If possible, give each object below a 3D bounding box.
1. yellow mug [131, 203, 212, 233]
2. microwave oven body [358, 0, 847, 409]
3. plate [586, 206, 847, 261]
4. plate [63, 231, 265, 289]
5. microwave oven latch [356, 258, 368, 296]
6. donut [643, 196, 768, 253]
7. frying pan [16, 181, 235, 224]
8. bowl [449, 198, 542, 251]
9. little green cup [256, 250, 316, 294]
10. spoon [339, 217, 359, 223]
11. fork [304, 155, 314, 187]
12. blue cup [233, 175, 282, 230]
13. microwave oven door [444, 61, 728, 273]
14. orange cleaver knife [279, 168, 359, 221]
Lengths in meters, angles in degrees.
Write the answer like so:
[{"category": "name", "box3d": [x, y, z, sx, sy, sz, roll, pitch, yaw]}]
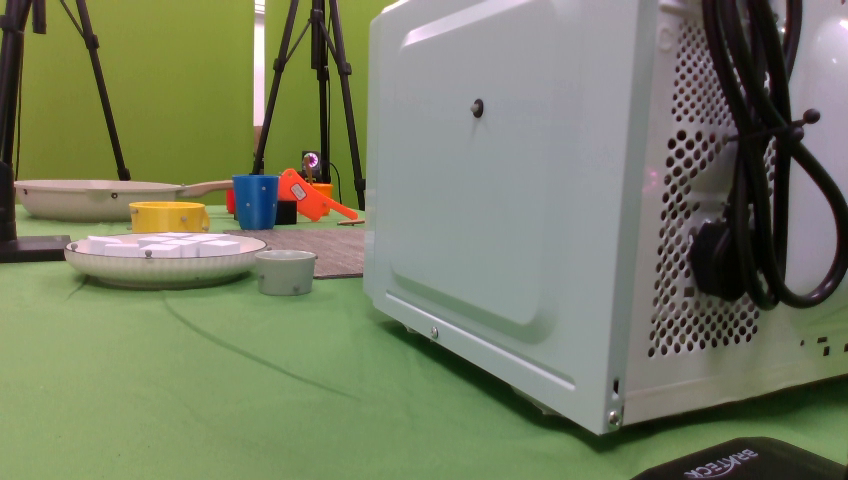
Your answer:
[{"category": "yellow mug", "box3d": [-0.356, -0.020, 0.878, 0.099, 0.064, 0.131, 4, 7, 22]}, {"category": "microwave oven body", "box3d": [0.210, -0.051, 0.472, 0.444, 0.260, 0.324, -1, 7, -28]}, {"category": "plate", "box3d": [0.243, -0.007, 0.509, 0.209, 0.038, 0.209, 2, 3, 0]}, {"category": "plate", "box3d": [-0.288, 0.021, 0.687, 0.208, 0.039, 0.207, 2, 8, 0]}, {"category": "microwave oven latch", "box3d": [-0.019, 0.031, 0.528, 0.079, 0.029, 0.030, -1, 7, -24]}, {"category": "donut", "box3d": [0.239, -0.014, 0.517, 0.099, 0.048, 0.099, 1, 5, 0]}, {"category": "frying pan", "box3d": [-0.553, -0.097, 1.266, 0.490, 0.102, 0.305, -10, 13, -24]}, {"category": "bowl", "box3d": [0.114, -0.025, 0.988, 0.151, 0.077, 0.151, 2, 8, 0]}, {"category": "little green cup", "box3d": [-0.144, 0.033, 0.626, 0.061, 0.038, 0.061, 4, 6, 0]}, {"category": "spoon", "box3d": [-0.087, -0.041, 1.268, 0.193, 0.021, 0.041, 4, 25, 13]}, {"category": "fork", "box3d": [-0.268, -0.134, 1.447, 0.028, 0.018, 0.207, 2, -36, -1]}, {"category": "blue cup", "box3d": [-0.314, -0.071, 1.141, 0.093, 0.100, 0.092, 0, 7, 0]}, {"category": "microwave oven door", "box3d": [0.190, -0.097, 0.787, 0.354, 0.243, 0.039, 6, 9, 31]}, {"category": "orange cleaver knife", "box3d": [-0.236, -0.084, 1.333, 0.212, 0.077, 0.012, 31, -10, -32]}]
